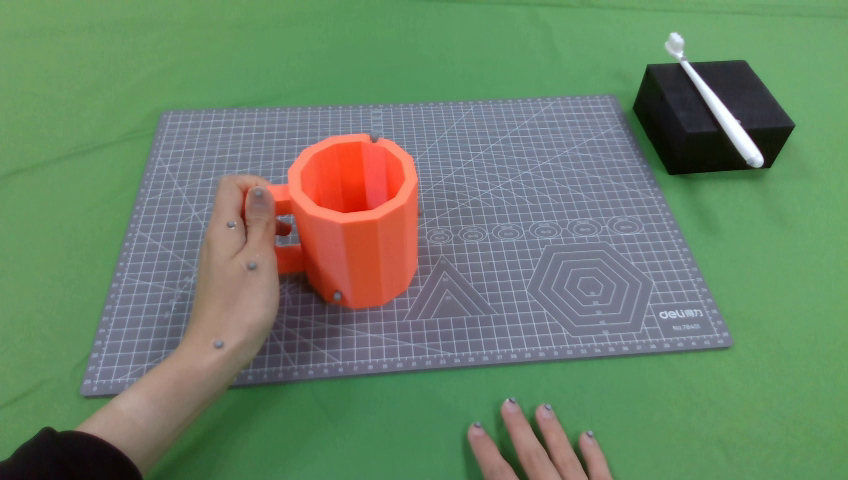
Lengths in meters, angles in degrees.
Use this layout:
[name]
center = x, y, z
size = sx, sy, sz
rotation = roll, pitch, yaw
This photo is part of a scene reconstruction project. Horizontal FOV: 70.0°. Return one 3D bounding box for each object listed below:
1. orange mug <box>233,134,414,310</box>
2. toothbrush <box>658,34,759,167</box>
[orange mug]
center = -0.068, -0.010, 0.432
size = 0.126, 0.101, 0.082
rotation = -5, 50, -11
[toothbrush]
center = 0.250, -0.129, 0.538
size = 0.014, 0.017, 0.180
rotation = -4, 50, -9
